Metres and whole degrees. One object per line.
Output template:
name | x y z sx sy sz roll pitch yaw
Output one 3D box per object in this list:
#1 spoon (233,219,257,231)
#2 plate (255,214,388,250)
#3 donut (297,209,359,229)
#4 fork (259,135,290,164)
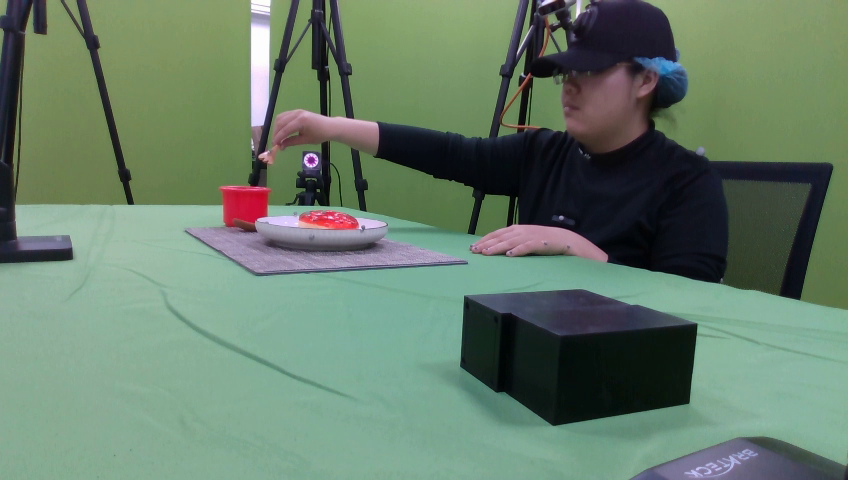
spoon | -0.250 -0.028 1.108 0.195 0.021 0.041 -2 -9 -29
plate | -0.161 -0.013 0.961 0.209 0.038 0.209 2 7 0
donut | -0.151 -0.023 0.955 0.099 0.048 0.099 6 7 0
fork | -0.292 -0.182 1.198 0.028 0.018 0.207 30 22 -11
